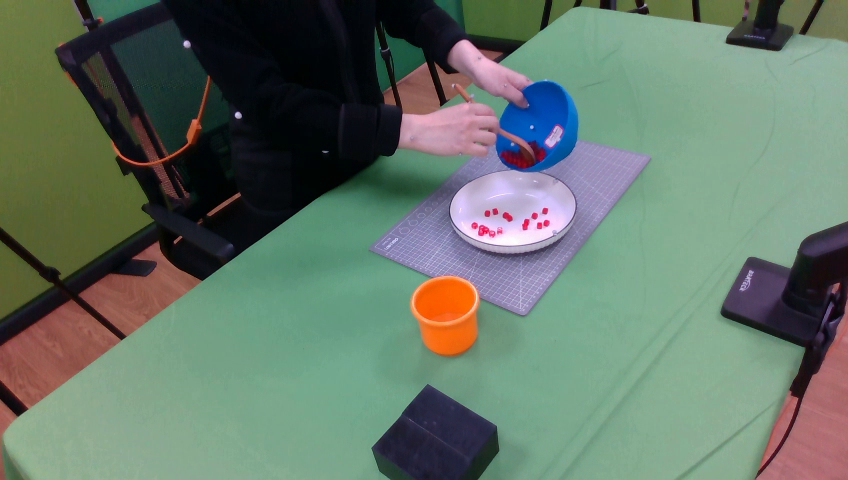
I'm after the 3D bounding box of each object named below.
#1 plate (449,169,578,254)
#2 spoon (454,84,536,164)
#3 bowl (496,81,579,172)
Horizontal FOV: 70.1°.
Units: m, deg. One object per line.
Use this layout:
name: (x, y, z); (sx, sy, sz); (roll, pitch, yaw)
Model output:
plate: (0.146, -0.044, 0.993); (0.209, 0.038, 0.208); (-5, 40, 5)
spoon: (0.113, -0.178, 0.939); (0.021, 0.195, 0.041); (-52, 31, 9)
bowl: (0.199, -0.174, 0.985); (0.077, 0.151, 0.150); (17, 23, -38)
